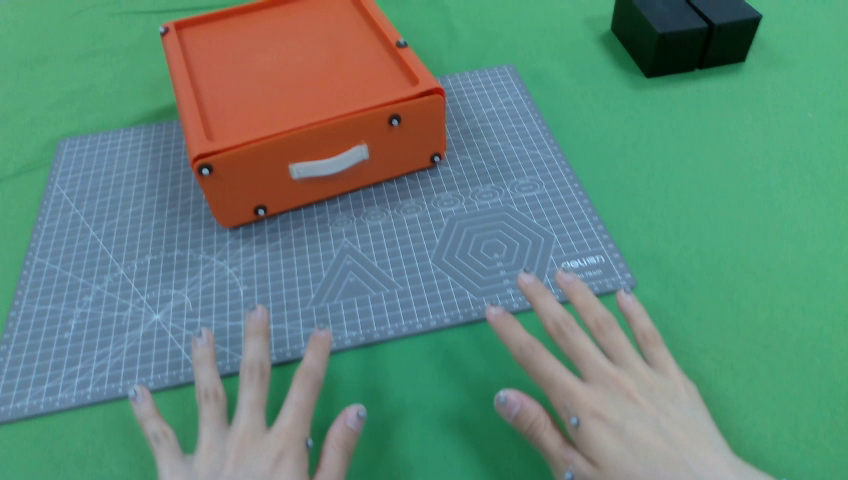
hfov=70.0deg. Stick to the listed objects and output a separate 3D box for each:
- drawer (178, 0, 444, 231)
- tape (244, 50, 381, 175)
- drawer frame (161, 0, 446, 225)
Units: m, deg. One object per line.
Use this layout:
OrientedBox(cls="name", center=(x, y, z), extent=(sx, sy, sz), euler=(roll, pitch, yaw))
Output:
OrientedBox(cls="drawer", center=(-0.111, -0.125, 0.540), extent=(0.195, 0.074, 0.209), euler=(-19, 49, -12))
OrientedBox(cls="tape", center=(-0.098, -0.114, 0.535), extent=(0.117, 0.053, 0.115), euler=(-1, 51, 2))
OrientedBox(cls="drawer frame", center=(-0.114, -0.131, 0.544), extent=(0.202, 0.083, 0.211), euler=(-20, 49, -13))
